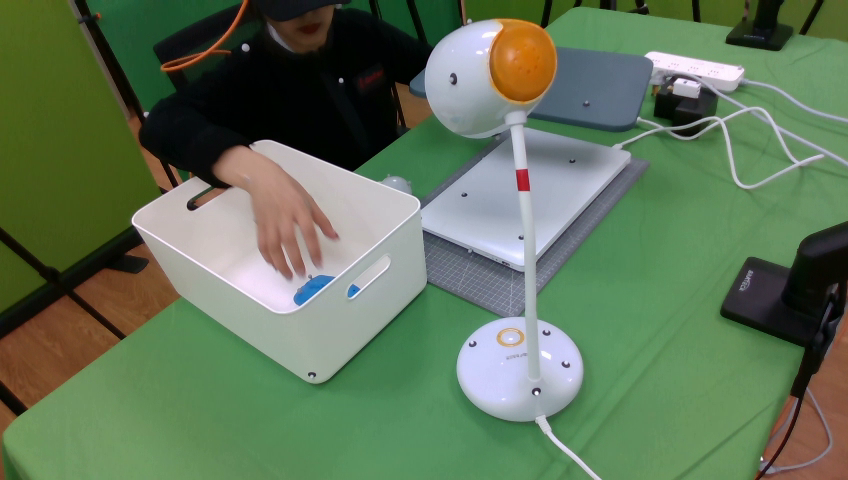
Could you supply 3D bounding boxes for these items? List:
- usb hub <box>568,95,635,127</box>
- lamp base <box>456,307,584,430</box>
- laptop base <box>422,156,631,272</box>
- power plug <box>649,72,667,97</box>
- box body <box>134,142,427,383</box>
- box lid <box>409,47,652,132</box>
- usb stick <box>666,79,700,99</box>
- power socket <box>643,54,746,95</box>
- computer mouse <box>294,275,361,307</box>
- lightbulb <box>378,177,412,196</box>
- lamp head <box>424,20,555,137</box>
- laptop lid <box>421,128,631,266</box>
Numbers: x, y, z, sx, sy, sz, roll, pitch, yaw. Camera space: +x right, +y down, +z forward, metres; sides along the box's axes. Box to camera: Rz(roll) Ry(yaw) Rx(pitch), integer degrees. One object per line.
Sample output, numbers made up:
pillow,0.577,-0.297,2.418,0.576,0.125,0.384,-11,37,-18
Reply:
usb hub,0.360,-0.263,1.228,0.124,0.025,0.049,24,50,34
lamp base,0.115,0.108,0.713,0.161,0.181,0.178,-17,43,-8
laptop base,0.176,-0.083,1.055,0.233,0.023,0.355,21,48,36
power plug,0.493,-0.320,1.261,0.073,0.052,0.035,1,21,-41
box body,-0.201,0.018,0.896,0.361,0.161,0.255,23,50,33
box lid,0.186,-0.274,1.025,0.370,0.015,0.263,14,42,18
usb stick,0.492,-0.288,1.152,0.058,0.027,0.021,20,50,34
power socket,0.564,-0.357,1.293,0.225,0.033,0.072,24,51,33
computer mouse,-0.139,0.084,0.891,0.116,0.041,0.063,19,49,37
lightbulb,-0.067,-0.086,1.083,0.060,0.060,0.107,-38,32,-30
lamp head,0.069,-0.153,0.572,0.113,0.112,0.122,-21,16,-14
laptop lid,0.173,-0.093,1.049,0.239,0.013,0.358,23,49,36
